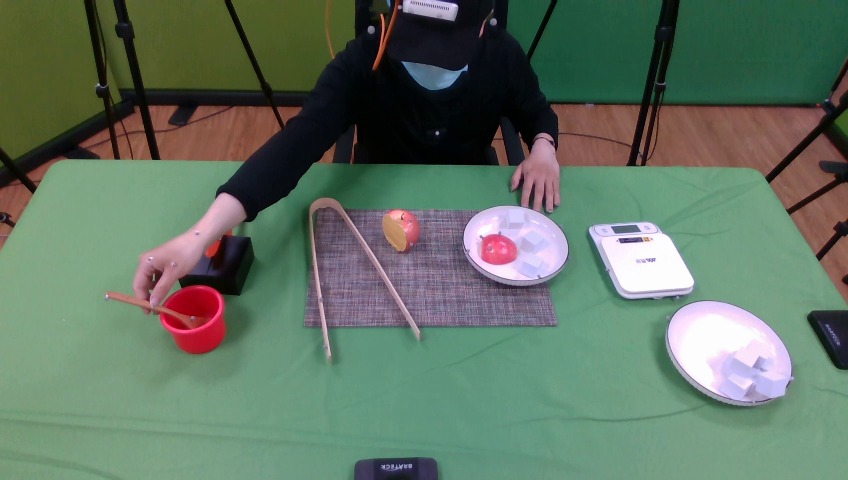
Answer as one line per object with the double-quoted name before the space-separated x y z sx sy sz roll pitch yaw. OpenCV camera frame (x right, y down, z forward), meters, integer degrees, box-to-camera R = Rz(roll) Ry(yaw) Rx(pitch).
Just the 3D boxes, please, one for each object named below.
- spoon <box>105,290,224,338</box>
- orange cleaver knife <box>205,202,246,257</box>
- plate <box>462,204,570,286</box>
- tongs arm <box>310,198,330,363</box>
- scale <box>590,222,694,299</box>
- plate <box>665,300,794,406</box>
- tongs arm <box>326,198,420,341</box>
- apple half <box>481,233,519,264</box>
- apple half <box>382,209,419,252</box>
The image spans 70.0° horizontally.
"spoon" -0.411 0.115 0.972 0.195 0.021 0.041 33 35 -37
"orange cleaver knife" -0.376 -0.024 1.151 0.012 0.077 0.210 0 16 2
"plate" 0.177 0.013 1.180 0.209 0.038 0.208 2 46 -2
"tongs arm" -0.179 0.059 1.117 0.051 0.026 0.382 -9 46 -11
"scale" 0.424 0.031 1.189 0.149 0.032 0.199 -3 46 -7
"plate" 0.513 0.194 1.034 0.208 0.039 0.206 2 46 -2
"tongs arm" -0.101 0.042 1.139 0.028 0.028 0.385 -23 51 -17
"apple half" 0.147 0.010 1.174 0.081 0.033 0.081 0 46 0
"apple half" -0.039 -0.022 1.175 0.053 0.075 0.080 -27 50 -31
